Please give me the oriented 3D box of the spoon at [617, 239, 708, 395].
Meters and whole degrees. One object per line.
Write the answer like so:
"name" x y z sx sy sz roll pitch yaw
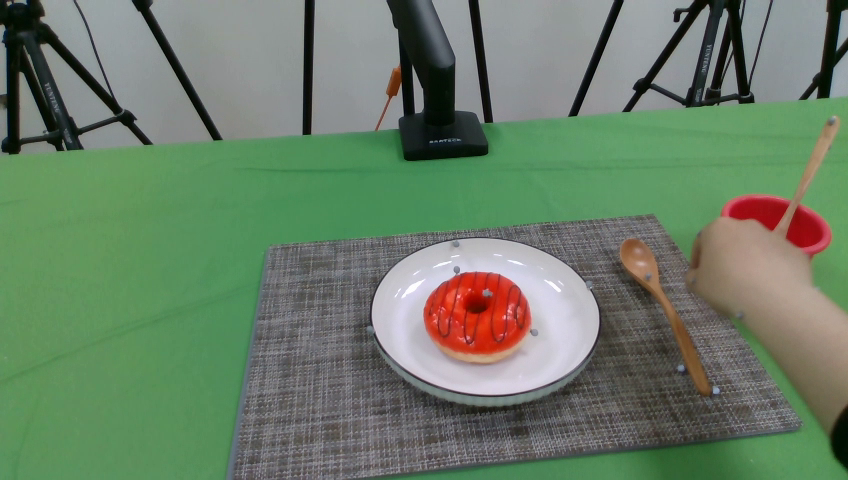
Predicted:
"spoon" 0.226 0.065 0.577 0.042 0.022 0.191 10 35 -12

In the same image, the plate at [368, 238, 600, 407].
"plate" 0.054 0.073 0.559 0.209 0.038 0.207 -1 37 1

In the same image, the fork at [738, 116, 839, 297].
"fork" 0.369 -0.036 0.608 0.028 0.019 0.207 26 88 31

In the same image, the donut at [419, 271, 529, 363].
"donut" 0.045 0.069 0.547 0.099 0.049 0.098 -2 40 2
